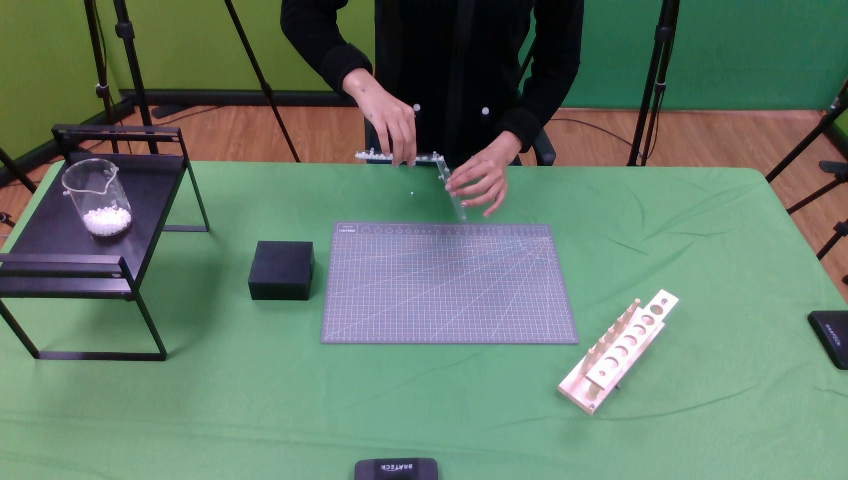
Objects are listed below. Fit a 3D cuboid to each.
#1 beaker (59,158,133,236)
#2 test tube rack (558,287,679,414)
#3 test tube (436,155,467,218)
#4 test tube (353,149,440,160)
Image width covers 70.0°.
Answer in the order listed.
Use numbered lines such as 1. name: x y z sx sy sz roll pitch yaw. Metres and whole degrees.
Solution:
1. beaker: -0.488 -0.060 0.915 0.074 0.101 0.083 -35 58 -31
2. test tube rack: 0.326 0.170 1.009 0.066 0.085 0.242 36 54 26
3. test tube: 0.052 -0.094 1.108 0.017 0.151 0.017 -14 43 14
4. test tube: -0.046 -0.147 1.040 0.151 0.017 0.017 0 46 -12
